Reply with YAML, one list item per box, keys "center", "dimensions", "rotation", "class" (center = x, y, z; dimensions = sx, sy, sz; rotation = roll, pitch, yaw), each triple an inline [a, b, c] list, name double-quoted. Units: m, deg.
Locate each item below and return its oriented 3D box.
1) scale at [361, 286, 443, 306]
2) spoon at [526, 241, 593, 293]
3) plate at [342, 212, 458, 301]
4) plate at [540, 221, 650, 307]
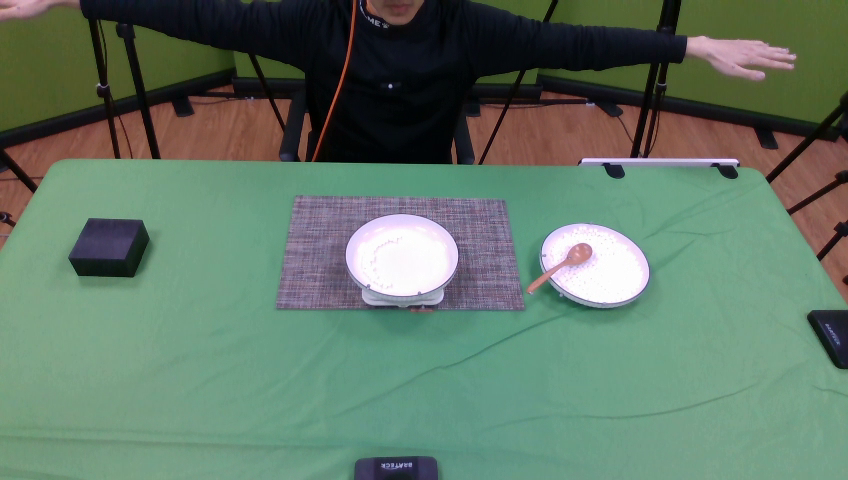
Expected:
- center: [-0.042, 0.040, 1.143]
  dimensions: [0.149, 0.032, 0.199]
  rotation: [0, 46, -4]
  class: "scale"
- center: [0.252, 0.050, 1.134]
  dimensions: [0.194, 0.022, 0.041]
  rotation: [-27, 53, -35]
  class: "spoon"
- center: [-0.043, 0.033, 1.105]
  dimensions: [0.208, 0.039, 0.206]
  rotation: [2, 46, -2]
  class: "plate"
- center: [0.325, 0.048, 1.164]
  dimensions: [0.209, 0.038, 0.208]
  rotation: [2, 46, -2]
  class: "plate"
